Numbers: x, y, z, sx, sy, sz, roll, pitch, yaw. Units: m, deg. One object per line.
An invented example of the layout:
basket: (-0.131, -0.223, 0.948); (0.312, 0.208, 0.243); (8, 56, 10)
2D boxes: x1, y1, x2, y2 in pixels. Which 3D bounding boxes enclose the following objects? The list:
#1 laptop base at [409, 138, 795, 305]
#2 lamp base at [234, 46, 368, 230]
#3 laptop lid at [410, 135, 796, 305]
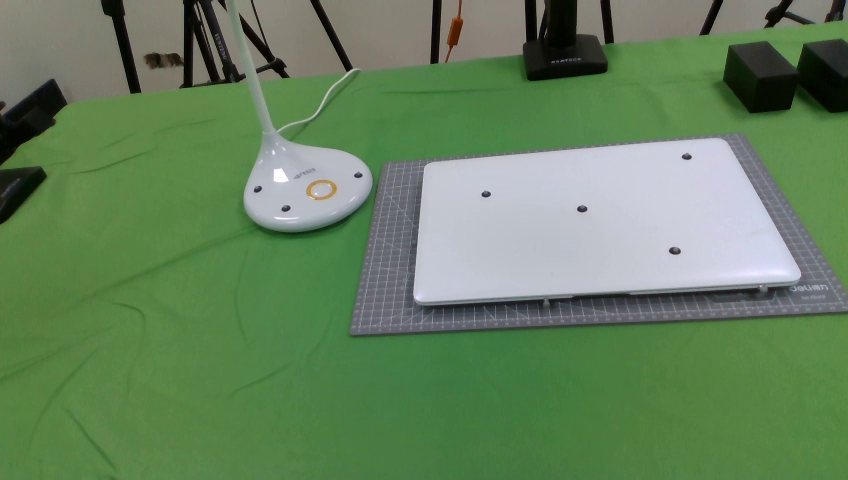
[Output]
laptop base: (0.165, -0.023, 0.647); (0.354, 0.023, 0.233); (-4, 44, 6)
lamp base: (-0.168, -0.128, 0.710); (0.177, 0.182, 0.160); (25, 51, 37)
laptop lid: (0.163, -0.031, 0.637); (0.356, 0.013, 0.239); (-3, 43, 8)
